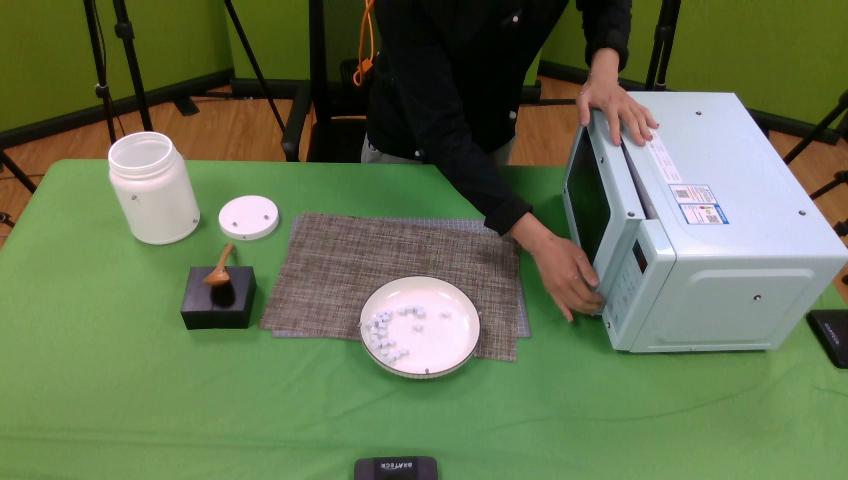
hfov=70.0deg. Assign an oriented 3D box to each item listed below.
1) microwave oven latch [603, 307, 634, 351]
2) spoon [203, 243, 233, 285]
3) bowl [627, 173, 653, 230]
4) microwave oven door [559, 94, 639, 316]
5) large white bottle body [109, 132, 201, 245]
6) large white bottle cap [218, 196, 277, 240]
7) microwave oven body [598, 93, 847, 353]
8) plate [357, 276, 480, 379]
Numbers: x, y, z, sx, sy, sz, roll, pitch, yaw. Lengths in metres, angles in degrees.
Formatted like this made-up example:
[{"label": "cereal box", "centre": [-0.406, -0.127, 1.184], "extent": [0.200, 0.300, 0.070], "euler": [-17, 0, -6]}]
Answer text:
[{"label": "microwave oven latch", "centre": [0.332, 0.153, 1.044], "extent": [0.030, 0.029, 0.078], "euler": [0, 45, -3]}, {"label": "spoon", "centre": [-0.360, 0.039, 1.087], "extent": [0.041, 0.022, 0.192], "euler": [-5, 24, -7]}, {"label": "bowl", "centre": [0.446, -0.057, 1.166], "extent": [0.151, 0.077, 0.150], "euler": [2, 46, -2]}, {"label": "microwave oven door", "centre": [0.315, -0.074, 1.122], "extent": [0.039, 0.245, 0.353], "euler": [3, 46, -2]}, {"label": "large white bottle body", "centre": [-0.506, -0.097, 1.141], "extent": [0.131, 0.185, 0.130], "euler": [2, 46, -2]}, {"label": "large white bottle cap", "centre": [-0.354, -0.045, 1.220], "extent": [0.115, 0.018, 0.114], "euler": [2, 45, -1]}, {"label": "microwave oven body", "centre": [0.475, -0.042, 1.109], "extent": [0.326, 0.261, 0.438], "euler": [-1, 45, -4]}, {"label": "plate", "centre": [-0.010, 0.151, 1.038], "extent": [0.209, 0.038, 0.208], "euler": [2, 47, -2]}]
